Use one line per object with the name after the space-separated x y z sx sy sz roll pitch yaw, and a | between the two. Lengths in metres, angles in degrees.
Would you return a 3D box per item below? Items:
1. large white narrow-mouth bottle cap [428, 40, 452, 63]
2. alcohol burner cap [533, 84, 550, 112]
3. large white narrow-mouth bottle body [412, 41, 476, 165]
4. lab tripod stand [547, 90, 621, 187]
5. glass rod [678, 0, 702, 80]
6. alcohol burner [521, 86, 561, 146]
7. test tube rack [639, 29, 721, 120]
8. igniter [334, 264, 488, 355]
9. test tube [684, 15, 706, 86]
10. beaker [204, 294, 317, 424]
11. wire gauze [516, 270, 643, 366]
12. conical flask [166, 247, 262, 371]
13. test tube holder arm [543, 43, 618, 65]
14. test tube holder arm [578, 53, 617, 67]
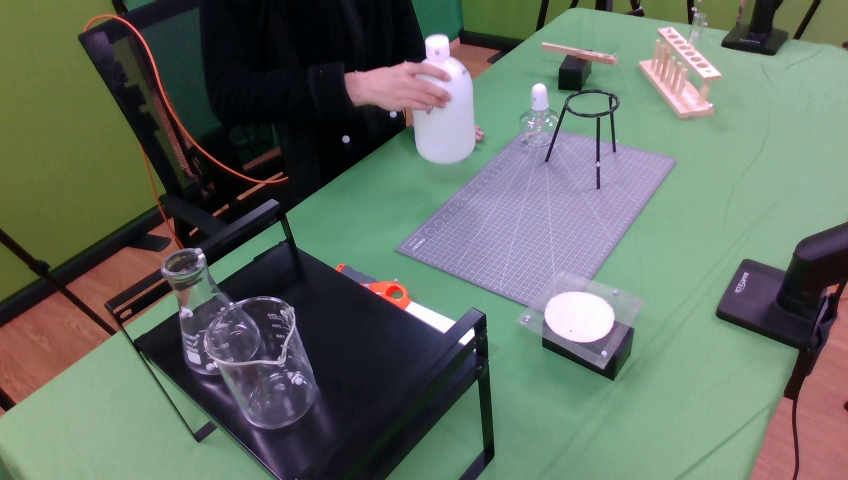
0.024 -0.290 0.930 0.038 0.024 0.037 -3 42 3 | large white narrow-mouth bottle cap
0.218 -0.269 1.133 0.034 0.048 0.033 -8 36 7 | alcohol burner cap
0.031 -0.227 0.988 0.102 0.195 0.101 -3 42 4 | large white narrow-mouth bottle body
0.289 -0.184 1.062 0.148 0.132 0.147 -6 41 6 | lab tripod stand
0.543 -0.417 1.233 0.008 0.200 0.008 1 40 0 | glass rod
0.223 -0.241 1.155 0.078 0.119 0.077 -5 43 5 | alcohol burner
0.527 -0.351 1.262 0.067 0.085 0.241 -8 40 1 | test tube rack
-0.030 0.094 0.871 0.274 0.025 0.057 22 59 31 | igniter
0.540 -0.378 1.215 0.017 0.151 0.017 -2 44 3 | test tube
-0.137 0.110 0.536 0.083 0.101 0.074 30 53 36 | beaker
0.200 0.093 0.777 0.124 0.011 0.122 23 49 32 | wire gauze
-0.208 0.064 0.584 0.075 0.122 0.075 -5 40 4 | conical flask
0.344 -0.413 1.340 0.177 0.015 0.013 25 50 31 | test tube holder arm
0.376 -0.393 1.314 0.087 0.015 0.010 26 51 32 | test tube holder arm
